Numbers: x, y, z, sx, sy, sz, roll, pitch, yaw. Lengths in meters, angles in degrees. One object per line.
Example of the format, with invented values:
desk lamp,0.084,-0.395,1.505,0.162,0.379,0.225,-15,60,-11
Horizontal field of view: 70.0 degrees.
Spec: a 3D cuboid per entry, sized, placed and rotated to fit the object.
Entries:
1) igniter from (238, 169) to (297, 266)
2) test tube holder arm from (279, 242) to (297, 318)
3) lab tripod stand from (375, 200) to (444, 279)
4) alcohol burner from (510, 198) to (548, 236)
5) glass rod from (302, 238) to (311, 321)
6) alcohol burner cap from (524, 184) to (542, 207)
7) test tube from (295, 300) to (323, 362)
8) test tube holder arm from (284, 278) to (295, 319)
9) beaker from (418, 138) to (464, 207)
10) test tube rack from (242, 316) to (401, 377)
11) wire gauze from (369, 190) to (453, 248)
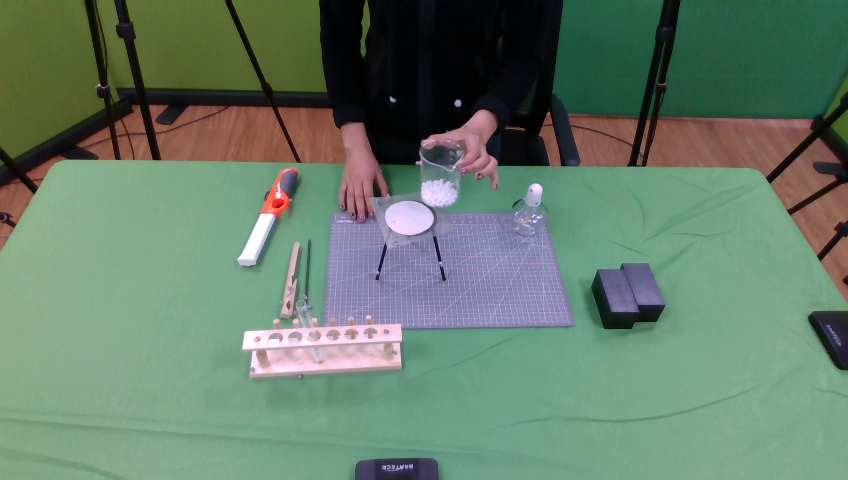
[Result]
igniter,-0.313,-0.055,1.224,0.057,0.025,0.275,1,45,10
test tube holder arm,-0.249,0.069,1.114,0.013,0.015,0.177,26,38,-28
lab tripod stand,-0.023,0.003,1.114,0.148,0.132,0.147,4,45,-3
alcohol burner,0.214,-0.066,1.213,0.078,0.119,0.077,2,48,-2
glass rod,-0.218,0.068,1.125,0.008,0.008,0.198,-1,47,-5
alcohol burner cap,0.216,-0.090,1.186,0.034,0.048,0.033,1,56,-1
test tube,-0.176,0.143,0.935,0.017,0.151,0.017,-2,46,2
test tube holder arm,-0.241,0.103,1.085,0.010,0.015,0.087,26,38,-27
beaker,0.029,-0.111,1.040,0.074,0.101,0.083,-14,47,-16
test tube rack,-0.161,0.166,0.983,0.242,0.085,0.066,-2,46,-6
wire gauze,-0.025,-0.042,1.064,0.121,0.011,0.124,-11,48,-17
